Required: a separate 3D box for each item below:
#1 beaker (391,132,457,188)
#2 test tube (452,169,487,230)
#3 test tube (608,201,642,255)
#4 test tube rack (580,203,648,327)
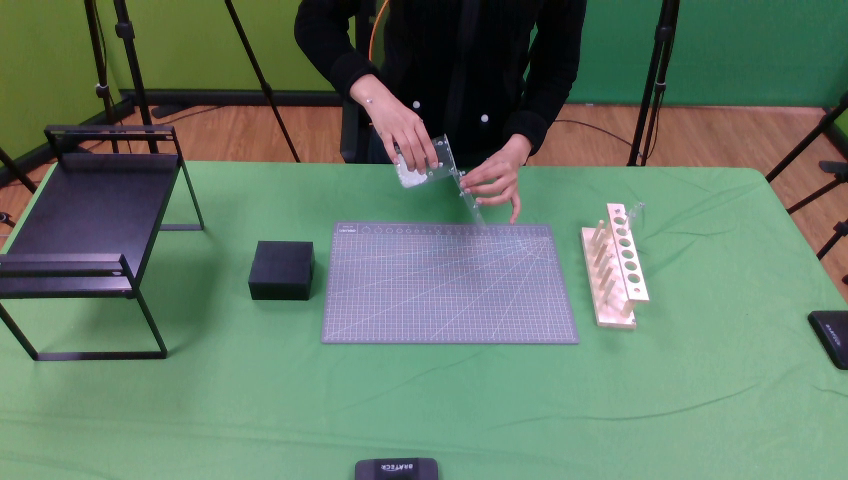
[{"bbox_3d":[0.000,-0.134,1.051,0.100,0.084,0.073,-17,45,5],"label":"beaker"},{"bbox_3d":[0.086,-0.072,1.120,0.017,0.151,0.017,-17,41,16],"label":"test tube"},{"bbox_3d":[0.373,-0.019,1.133,0.017,0.151,0.017,3,52,-4],"label":"test tube"},{"bbox_3d":[0.352,0.041,1.142,0.067,0.085,0.241,4,46,0],"label":"test tube rack"}]
